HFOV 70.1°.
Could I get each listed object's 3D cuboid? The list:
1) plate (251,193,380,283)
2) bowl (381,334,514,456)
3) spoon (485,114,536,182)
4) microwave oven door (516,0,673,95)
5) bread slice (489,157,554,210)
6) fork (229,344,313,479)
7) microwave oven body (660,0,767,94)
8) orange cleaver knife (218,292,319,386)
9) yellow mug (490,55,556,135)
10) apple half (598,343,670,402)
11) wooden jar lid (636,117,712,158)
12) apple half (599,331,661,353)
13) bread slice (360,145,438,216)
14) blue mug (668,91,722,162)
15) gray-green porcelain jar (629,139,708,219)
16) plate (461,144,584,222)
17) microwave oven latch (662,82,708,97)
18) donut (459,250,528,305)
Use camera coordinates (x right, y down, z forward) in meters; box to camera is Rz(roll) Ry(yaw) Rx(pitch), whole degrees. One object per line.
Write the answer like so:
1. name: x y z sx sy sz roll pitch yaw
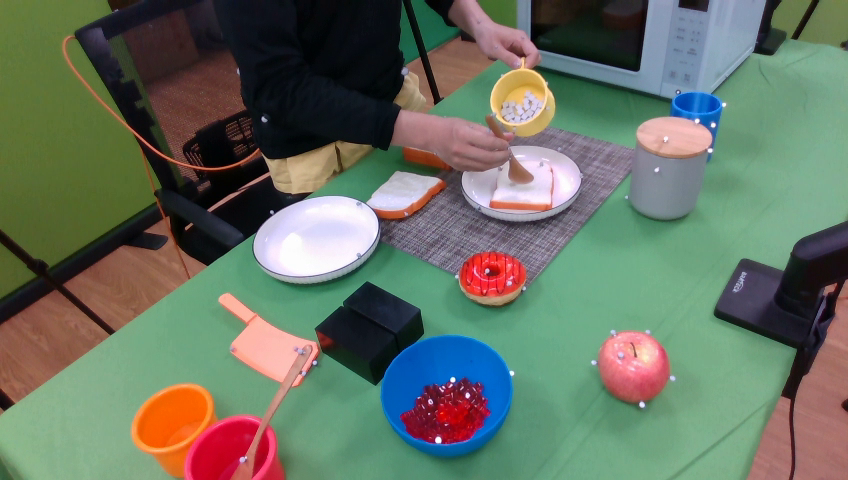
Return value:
1. plate: -0.173 -0.001 0.985 0.209 0.038 0.208 -4 41 4
2. bowl: 0.029 0.192 0.701 0.151 0.077 0.150 -4 40 4
3. spoon: 0.128 -0.136 0.918 0.041 0.195 0.021 -3 63 27
4. microwave oven door: 0.344 -0.458 1.257 0.353 0.245 0.039 26 51 33
5. bread slice: 0.173 -0.099 1.048 0.104 0.019 0.131 5 45 12
6. fork: -0.173 0.205 0.662 0.028 0.019 0.207 29 94 36
7. microwave oven body: 0.473 -0.516 1.313 0.438 0.261 0.327 26 51 34
8. orange cleaver knife: -0.235 0.136 0.850 0.209 0.012 0.077 25 57 30
9. yellow mug: 0.172 -0.255 1.048 0.099 0.064 0.130 0 82 23
10. apple half: 0.247 0.161 0.710 0.081 0.075 0.053 2 47 5
11. wooden jar lid: 0.377 -0.151 0.917 0.108 0.021 0.108 -2 42 2
12. apple half: 0.249 0.134 0.738 0.081 0.081 0.032 -1 46 7
13. bread slice: -0.052 -0.103 1.046 0.106 0.018 0.134 19 67 23
14. blue mug: 0.474 -0.207 1.078 0.082 0.106 0.116 4 42 13
15. gray-green porcelain jar: 0.383 -0.105 0.958 0.106 0.127 0.105 -4 41 4
16. plate: 0.168 -0.095 1.040 0.207 0.039 0.206 -4 41 4
17. microwave oven latch: 0.518 -0.298 1.202 0.078 0.029 0.030 28 53 35
18. donut: 0.100 0.053 0.873 0.099 0.048 0.098 -5 40 4
